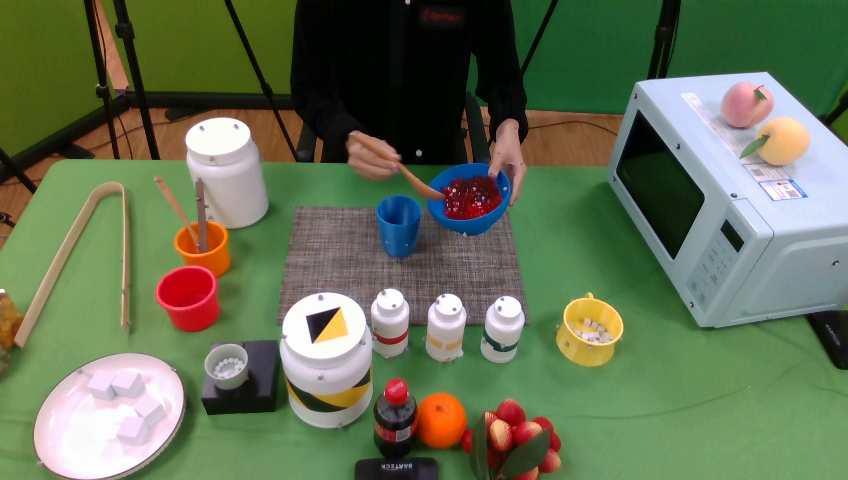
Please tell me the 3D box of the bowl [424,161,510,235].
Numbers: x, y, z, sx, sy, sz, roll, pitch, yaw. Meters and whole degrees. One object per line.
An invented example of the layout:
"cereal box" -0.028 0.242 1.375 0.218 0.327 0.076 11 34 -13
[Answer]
"bowl" 0.080 -0.062 1.072 0.151 0.077 0.150 -8 46 8

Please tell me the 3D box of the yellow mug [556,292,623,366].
"yellow mug" 0.285 0.145 1.051 0.100 0.064 0.130 7 45 3

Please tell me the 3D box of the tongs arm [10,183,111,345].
"tongs arm" -0.658 0.027 1.109 0.028 0.028 0.385 -2 45 2

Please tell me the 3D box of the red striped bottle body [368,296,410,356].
"red striped bottle body" -0.059 0.135 0.997 0.063 0.120 0.062 6 49 -6

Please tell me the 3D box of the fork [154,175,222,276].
"fork" -0.431 -0.026 1.101 0.028 0.018 0.207 -33 100 -25

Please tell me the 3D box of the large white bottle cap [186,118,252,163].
"large white bottle cap" -0.377 -0.185 1.114 0.115 0.018 0.114 2 47 -2

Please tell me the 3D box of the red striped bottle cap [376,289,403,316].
"red striped bottle cap" -0.055 0.098 0.958 0.044 0.018 0.044 0 48 0

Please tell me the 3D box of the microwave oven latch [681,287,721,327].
"microwave oven latch" 0.494 0.119 1.087 0.030 0.029 0.078 -6 46 -9

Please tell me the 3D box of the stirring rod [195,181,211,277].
"stirring rod" -0.403 -0.020 1.104 0.014 0.006 0.176 -6 89 -9

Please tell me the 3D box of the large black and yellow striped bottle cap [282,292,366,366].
"large black and yellow striped bottle cap" -0.138 0.121 0.841 0.115 0.019 0.114 3 47 -3

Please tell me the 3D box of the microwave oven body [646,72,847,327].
"microwave oven body" 0.607 -0.089 1.164 0.326 0.261 0.438 -7 46 -10

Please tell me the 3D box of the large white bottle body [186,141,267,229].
"large white bottle body" -0.383 -0.127 1.175 0.131 0.185 0.130 3 47 -3

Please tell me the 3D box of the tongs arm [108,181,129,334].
"tongs arm" -0.571 0.019 1.123 0.051 0.026 0.382 -10 47 -12

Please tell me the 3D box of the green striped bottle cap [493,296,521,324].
"green striped bottle cap" 0.133 0.111 0.962 0.044 0.020 0.044 2 47 -2

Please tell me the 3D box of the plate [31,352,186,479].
"plate" -0.459 0.262 0.898 0.209 0.038 0.208 2 46 -2

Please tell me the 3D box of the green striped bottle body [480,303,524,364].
"green striped bottle body" 0.129 0.147 1.000 0.063 0.120 0.063 2 46 -2

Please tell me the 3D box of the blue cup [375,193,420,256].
"blue cup" -0.051 -0.023 1.157 0.093 0.101 0.092 2 47 -2

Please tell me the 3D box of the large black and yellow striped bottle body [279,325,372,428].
"large black and yellow striped bottle body" -0.143 0.181 0.900 0.131 0.185 0.130 2 46 -2

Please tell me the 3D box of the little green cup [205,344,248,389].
"little green cup" -0.294 0.191 0.909 0.061 0.039 0.061 1 48 -1

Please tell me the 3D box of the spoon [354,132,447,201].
"spoon" -0.037 -0.118 0.988 0.194 0.041 0.021 39 71 -23

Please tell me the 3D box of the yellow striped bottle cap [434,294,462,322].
"yellow striped bottle cap" 0.038 0.107 0.958 0.044 0.019 0.044 2 44 -2

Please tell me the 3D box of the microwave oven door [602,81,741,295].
"microwave oven door" 0.456 -0.107 1.162 0.039 0.245 0.353 -7 47 -11

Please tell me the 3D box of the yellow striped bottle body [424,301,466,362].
"yellow striped bottle body" 0.035 0.143 0.995 0.063 0.121 0.062 3 46 -3
